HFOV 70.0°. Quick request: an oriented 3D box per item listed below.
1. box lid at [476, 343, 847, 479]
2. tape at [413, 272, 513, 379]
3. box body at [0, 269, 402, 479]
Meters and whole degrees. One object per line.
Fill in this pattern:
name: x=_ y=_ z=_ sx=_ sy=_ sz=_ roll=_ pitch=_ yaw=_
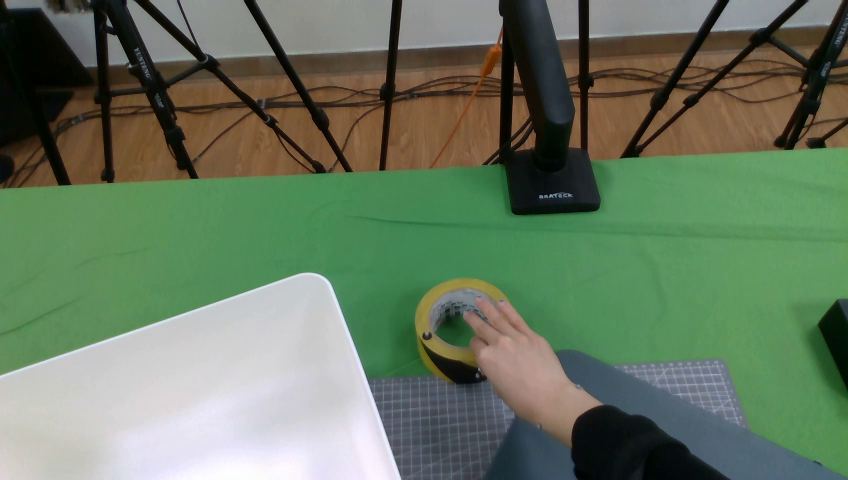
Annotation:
box lid: x=0.238 y=0.270 z=0.565 sx=0.369 sy=0.015 sz=0.262 roll=24 pitch=58 yaw=20
tape: x=0.043 y=0.095 z=0.688 sx=0.117 sy=0.053 sz=0.115 roll=-1 pitch=49 yaw=2
box body: x=-0.214 y=0.216 z=0.538 sx=0.364 sy=0.162 sz=0.251 roll=-20 pitch=53 yaw=-11
